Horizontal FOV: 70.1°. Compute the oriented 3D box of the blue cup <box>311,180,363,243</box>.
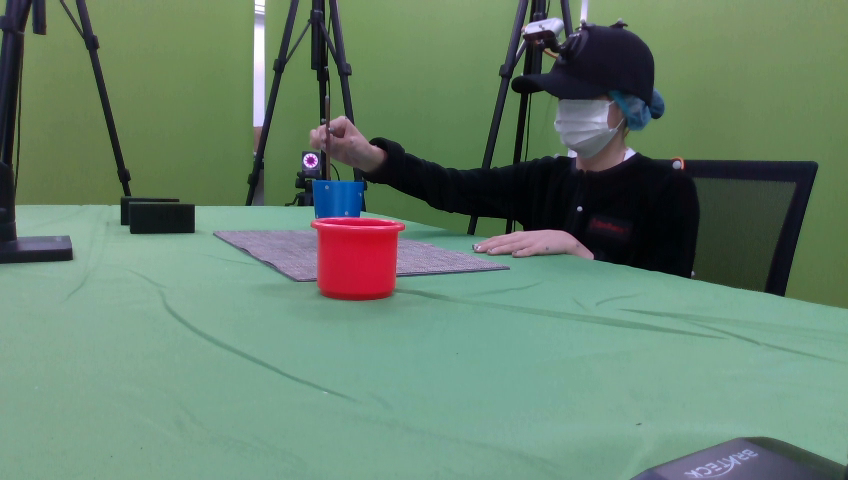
[{"bbox_3d":[-0.144,-0.047,0.997,0.093,0.100,0.092,2,6,0],"label":"blue cup"}]

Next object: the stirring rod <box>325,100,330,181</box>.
[{"bbox_3d":[-0.157,-0.138,0.983,0.006,0.176,0.014,-1,4,-20],"label":"stirring rod"}]
